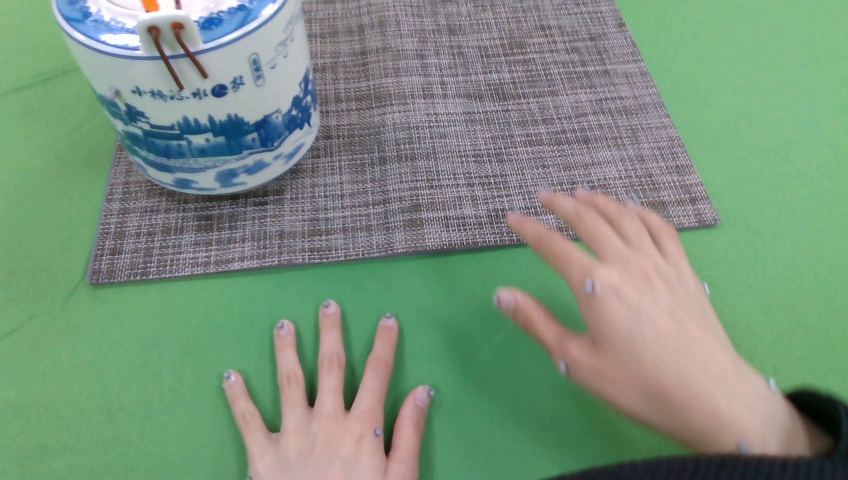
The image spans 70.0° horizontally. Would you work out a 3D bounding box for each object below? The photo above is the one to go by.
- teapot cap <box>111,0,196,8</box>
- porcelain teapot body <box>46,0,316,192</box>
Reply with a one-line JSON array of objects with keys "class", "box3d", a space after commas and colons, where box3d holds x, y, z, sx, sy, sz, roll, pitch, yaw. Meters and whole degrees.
[{"class": "teapot cap", "box3d": [-0.156, -0.167, 0.356, 0.085, 0.044, 0.084, 0, 57, 0]}, {"class": "porcelain teapot body", "box3d": [-0.161, -0.168, 0.404, 0.145, 0.227, 0.203, -11, 57, -8]}]
